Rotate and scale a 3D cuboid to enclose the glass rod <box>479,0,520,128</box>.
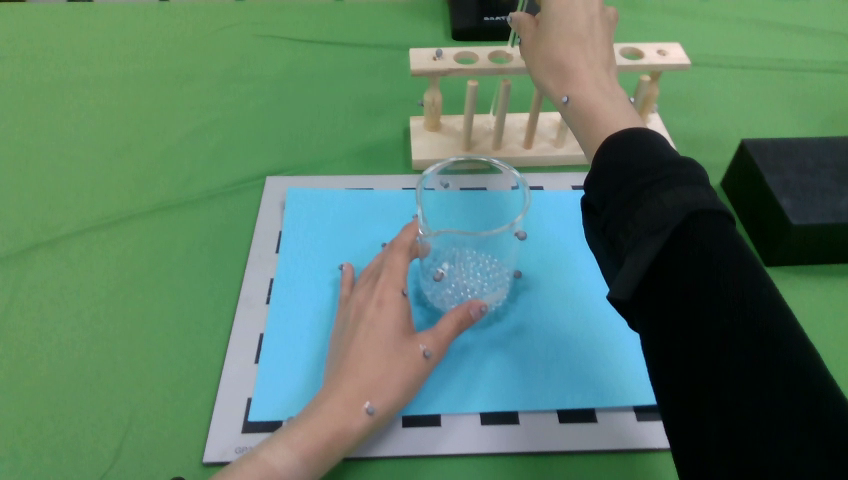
[{"bbox_3d":[0.071,-0.180,0.512,0.008,0.201,0.008,7,44,-6],"label":"glass rod"}]

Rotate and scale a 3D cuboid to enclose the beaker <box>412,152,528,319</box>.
[{"bbox_3d":[0.027,0.003,0.421,0.073,0.101,0.084,36,58,28],"label":"beaker"}]

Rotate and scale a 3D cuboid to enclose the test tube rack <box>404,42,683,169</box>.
[{"bbox_3d":[0.105,-0.122,0.550,0.242,0.086,0.066,-2,48,-3],"label":"test tube rack"}]
